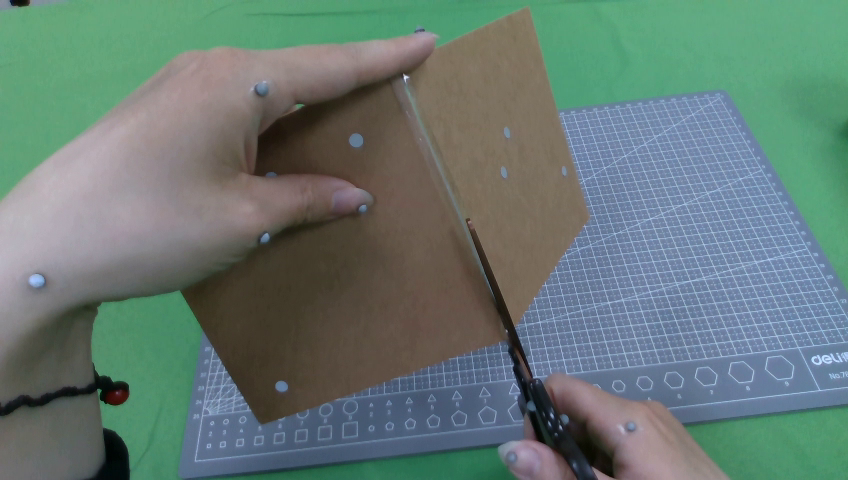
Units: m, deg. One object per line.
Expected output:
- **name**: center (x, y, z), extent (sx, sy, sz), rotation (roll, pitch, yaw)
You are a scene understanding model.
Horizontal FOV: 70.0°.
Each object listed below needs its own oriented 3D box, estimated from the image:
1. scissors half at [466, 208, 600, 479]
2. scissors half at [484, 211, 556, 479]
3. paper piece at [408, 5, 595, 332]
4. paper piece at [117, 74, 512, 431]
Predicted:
- **scissors half**: center (0.053, 0.065, 0.281), extent (0.013, 0.040, 0.174), rotation (-20, 81, -11)
- **scissors half**: center (0.048, 0.062, 0.305), extent (0.013, 0.177, 0.039), rotation (-20, 31, -7)
- **paper piece**: center (0.052, -0.045, 0.316), extent (0.004, 0.136, 0.135), rotation (-9, 22, 38)
- **paper piece**: center (-0.048, 0.014, 0.278), extent (0.138, 0.136, 0.008), rotation (-21, 14, 9)
